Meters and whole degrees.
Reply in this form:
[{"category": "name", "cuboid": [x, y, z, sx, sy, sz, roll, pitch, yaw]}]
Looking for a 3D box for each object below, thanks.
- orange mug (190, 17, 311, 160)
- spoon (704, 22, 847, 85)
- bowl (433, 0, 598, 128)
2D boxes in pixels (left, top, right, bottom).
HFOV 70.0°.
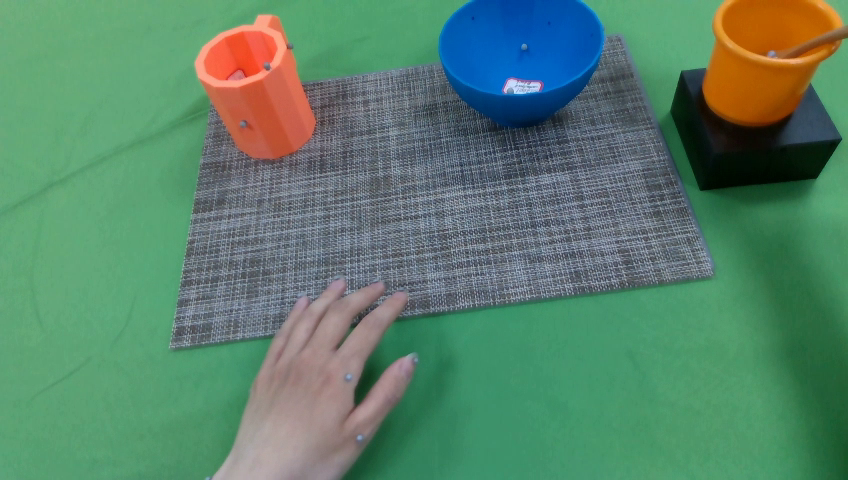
[{"category": "orange mug", "cuboid": [-0.164, -0.158, 0.603, 0.083, 0.102, 0.125, 2, 62, 10]}, {"category": "spoon", "cuboid": [0.292, -0.146, 0.445, 0.022, 0.193, 0.041, 44, 74, -17]}, {"category": "bowl", "cuboid": [0.087, -0.162, 0.583, 0.151, 0.077, 0.150, -3, 56, 5]}]
